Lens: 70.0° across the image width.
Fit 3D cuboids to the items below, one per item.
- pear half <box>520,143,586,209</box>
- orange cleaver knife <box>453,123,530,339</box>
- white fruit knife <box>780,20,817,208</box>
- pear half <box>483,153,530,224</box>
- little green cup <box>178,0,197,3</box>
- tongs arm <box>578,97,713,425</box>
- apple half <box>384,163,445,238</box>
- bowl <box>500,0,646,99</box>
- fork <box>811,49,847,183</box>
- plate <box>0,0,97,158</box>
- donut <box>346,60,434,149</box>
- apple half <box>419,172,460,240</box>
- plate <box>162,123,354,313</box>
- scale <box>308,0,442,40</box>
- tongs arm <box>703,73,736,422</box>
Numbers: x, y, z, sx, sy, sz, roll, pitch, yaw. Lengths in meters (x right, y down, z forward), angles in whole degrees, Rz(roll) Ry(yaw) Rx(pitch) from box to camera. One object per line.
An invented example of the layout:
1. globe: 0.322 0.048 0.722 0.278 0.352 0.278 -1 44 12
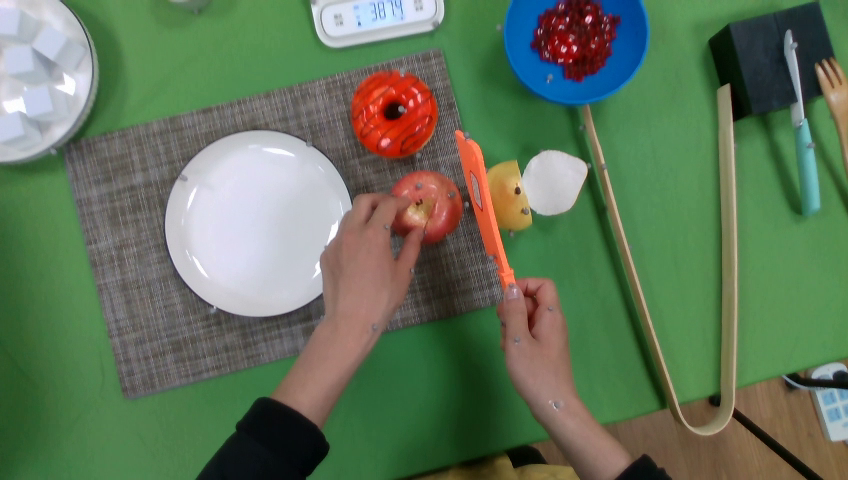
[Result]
1. pear half: 0.146 -0.074 0.665 0.088 0.031 0.070 -23 90 45
2. orange cleaver knife: 0.063 -0.008 0.577 0.012 0.077 0.212 -19 104 -5
3. white fruit knife: 0.402 -0.131 0.653 0.016 0.027 0.208 -17 104 0
4. pear half: 0.082 -0.053 0.639 0.056 0.110 0.076 -20 86 2
5. little green cup: -0.272 -0.299 0.678 0.061 0.038 0.061 0 89 1
6. tongs arm: 0.246 0.023 0.676 0.051 0.026 0.384 -15 91 -4
7. apple half: -0.015 -0.047 0.653 0.053 0.074 0.081 21 99 3
8. bowl: 0.153 -0.221 0.656 0.151 0.077 0.151 0 90 0
9. fork: 0.459 -0.107 0.660 0.028 0.018 0.208 -24 105 -1
10. plate: -0.466 -0.193 0.679 0.208 0.039 0.207 0 90 0
11. donut: -0.038 -0.149 0.670 0.099 0.048 0.099 0 91 2
12. apple half: 0.021 -0.032 0.651 0.033 0.081 0.081 21 89 4
13. plate: -0.180 -0.024 0.673 0.209 0.038 0.209 0 90 0
14. scale: -0.067 -0.336 0.680 0.149 0.031 0.201 -10 90 1
15. tongs arm: 0.331 0.008 0.680 0.028 0.027 0.387 0 90 -8
